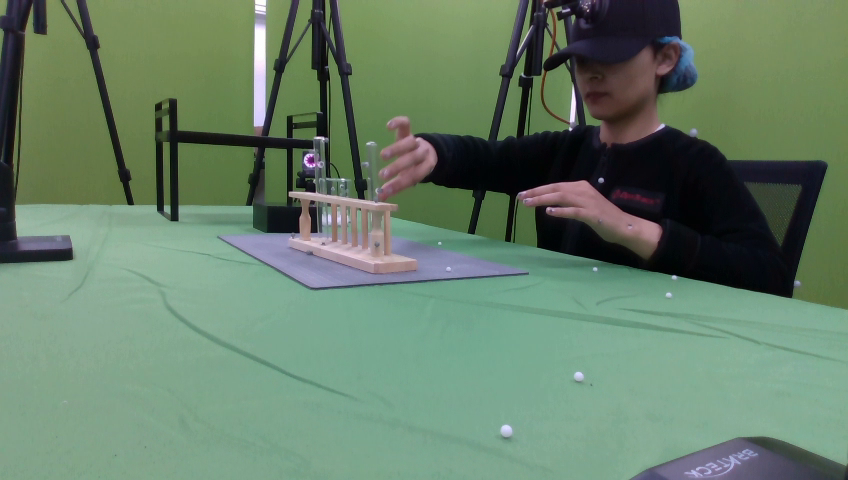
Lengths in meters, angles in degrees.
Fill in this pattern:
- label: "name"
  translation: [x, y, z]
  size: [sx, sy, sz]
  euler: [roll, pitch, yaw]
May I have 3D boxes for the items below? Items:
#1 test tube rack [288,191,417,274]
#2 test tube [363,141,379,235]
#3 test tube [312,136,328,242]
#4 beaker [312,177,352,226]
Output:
- label: "test tube rack"
  translation: [-0.106, -0.017, 0.835]
  size: [0.067, 0.085, 0.241]
  euler: [-3, 9, -37]
- label: "test tube"
  translation: [-0.069, -0.056, 0.809]
  size: [0.017, 0.150, 0.017]
  euler: [-4, 5, 1]
- label: "test tube"
  translation: [-0.146, -0.071, 0.850]
  size: [0.017, 0.150, 0.017]
  euler: [0, 11, 0]
- label: "beaker"
  translation: [-0.194, -0.081, 1.266]
  size: [0.084, 0.100, 0.073]
  euler: [-3, 9, -29]
